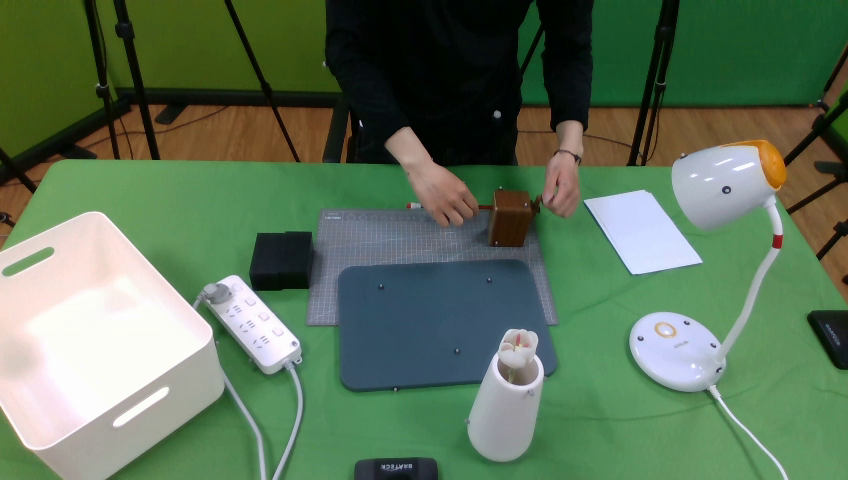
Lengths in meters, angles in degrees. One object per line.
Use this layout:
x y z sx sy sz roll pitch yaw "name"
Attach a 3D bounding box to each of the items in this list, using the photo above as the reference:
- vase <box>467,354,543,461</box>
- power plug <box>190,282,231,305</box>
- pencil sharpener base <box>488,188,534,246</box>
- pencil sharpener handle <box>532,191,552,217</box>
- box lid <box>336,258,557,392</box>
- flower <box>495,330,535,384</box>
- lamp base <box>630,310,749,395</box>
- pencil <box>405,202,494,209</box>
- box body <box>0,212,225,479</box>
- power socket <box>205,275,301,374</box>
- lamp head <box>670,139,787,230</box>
0.116 0.234 0.861 0.098 0.201 0.097 1 47 -1 "vase"
-0.368 0.098 1.038 0.072 0.053 0.035 -26 55 -20 "power plug"
0.170 -0.043 1.189 0.077 0.107 0.061 2 46 -2 "pencil sharpener base"
0.223 -0.070 1.157 0.030 0.068 0.036 2 55 -2 "pencil sharpener handle"
0.030 0.140 1.073 0.372 0.015 0.261 -3 47 -7 "box lid"
0.110 0.187 0.791 0.044 0.363 0.038 -32 65 -10 "flower"
0.447 0.143 0.984 0.161 0.181 0.178 -24 55 -24 "lamp base"
0.061 -0.065 1.172 0.194 0.012 0.012 2 46 2 "pencil"
-0.504 0.154 0.916 0.362 0.161 0.254 36 54 27 "box body"
-0.296 0.140 1.035 0.072 0.033 0.225 -32 57 -29 "power socket"
0.415 -0.079 0.812 0.113 0.123 0.112 12 70 -37 "lamp head"
